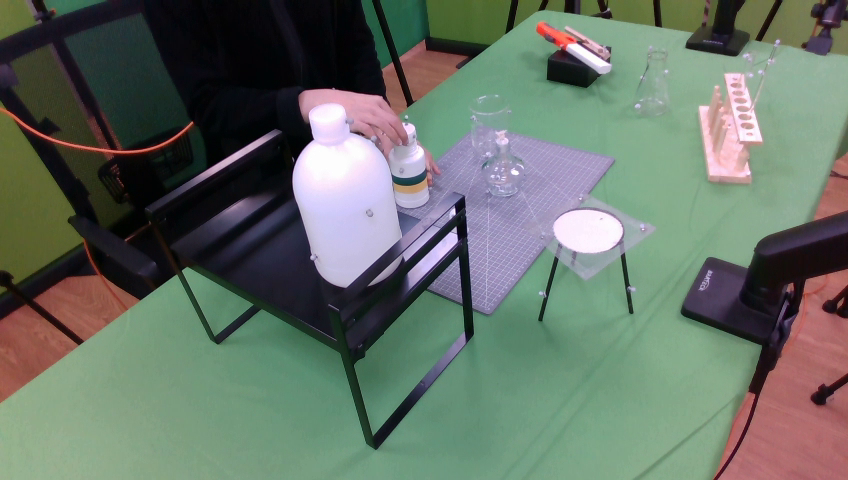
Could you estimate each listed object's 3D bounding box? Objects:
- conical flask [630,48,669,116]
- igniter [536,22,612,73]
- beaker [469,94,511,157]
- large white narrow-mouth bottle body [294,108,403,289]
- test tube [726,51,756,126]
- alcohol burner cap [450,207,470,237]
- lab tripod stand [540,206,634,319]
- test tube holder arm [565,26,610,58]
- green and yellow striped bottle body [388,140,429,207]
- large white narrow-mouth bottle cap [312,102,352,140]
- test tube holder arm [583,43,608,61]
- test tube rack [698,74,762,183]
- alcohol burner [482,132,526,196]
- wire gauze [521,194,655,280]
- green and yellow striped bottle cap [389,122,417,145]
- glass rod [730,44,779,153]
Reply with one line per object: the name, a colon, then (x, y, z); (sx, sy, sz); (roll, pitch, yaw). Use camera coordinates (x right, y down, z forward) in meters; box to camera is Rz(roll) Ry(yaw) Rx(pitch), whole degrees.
conical flask: (0.456, -0.317, 1.205); (0.075, 0.122, 0.075); (-4, 41, 4)
igniter: (0.330, -0.439, 1.366); (0.057, 0.025, 0.274); (-12, 41, -20)
beaker: (0.124, -0.216, 1.148); (0.074, 0.101, 0.083); (-21, 42, -16)
large white narrow-mouth bottle body: (-0.082, -0.047, 0.634); (0.102, 0.195, 0.101); (-4, 39, 4)
test tube: (0.568, -0.268, 1.086); (0.017, 0.151, 0.017); (-4, 46, 4)
alcohol burner cap: (0.057, -0.032, 0.987); (0.034, 0.048, 0.033); (-4, 41, 4)
lab tripod stand: (0.218, 0.034, 0.821); (0.148, 0.132, 0.147); (-4, 42, 4)
test tube holder arm: (0.369, -0.450, 1.373); (0.013, 0.015, 0.177); (-39, 41, 10)
green and yellow striped bottle body: (-0.027, -0.121, 1.042); (0.063, 0.120, 0.063); (-4, 41, 4)
large white narrow-mouth bottle cap: (-0.088, -0.114, 0.579); (0.038, 0.024, 0.037); (-3, 39, 3)
test tube holder arm: (0.379, -0.420, 1.341); (0.010, 0.015, 0.087); (-39, 41, 10)
test tube rack: (0.547, -0.208, 1.095); (0.066, 0.085, 0.242); (5, 42, 15)
alcohol burner: (0.137, -0.136, 1.042); (0.078, 0.119, 0.077); (-4, 43, 4)
wire gauze: (0.207, -0.012, 0.772); (0.122, 0.011, 0.124); (-28, 44, -20)
green and yellow striped bottle cap: (-0.034, -0.174, 0.983); (0.045, 0.020, 0.045); (-5, 38, 4)
glass rod: (0.555, -0.234, 1.020); (0.008, 0.200, 0.008); (2, 40, -1)
